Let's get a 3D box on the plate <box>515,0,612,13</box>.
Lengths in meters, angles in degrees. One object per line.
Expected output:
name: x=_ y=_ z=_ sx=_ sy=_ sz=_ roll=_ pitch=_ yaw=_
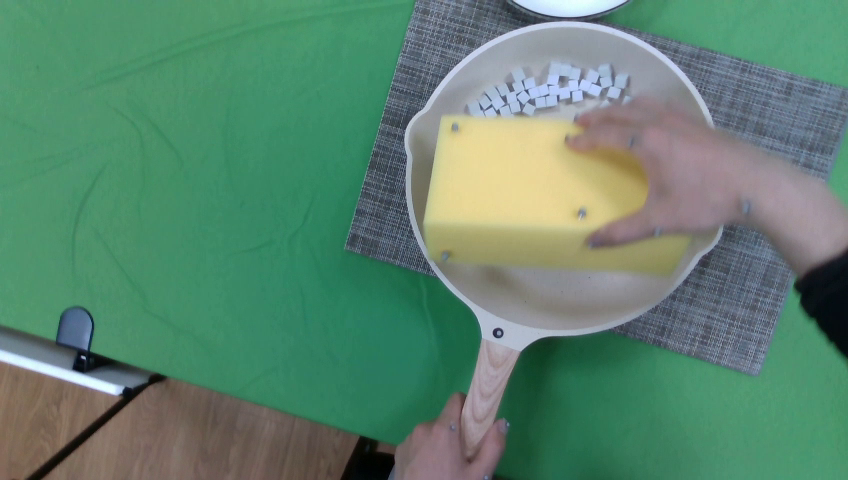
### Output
plate: x=0.141 y=-0.327 z=0.598 sx=0.207 sy=0.039 sz=0.207 roll=0 pitch=94 yaw=5

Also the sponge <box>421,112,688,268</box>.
sponge: x=0.108 y=-0.045 z=0.521 sx=0.206 sy=0.061 sz=0.117 roll=2 pitch=58 yaw=7

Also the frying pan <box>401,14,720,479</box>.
frying pan: x=0.092 y=0.035 z=0.587 sx=0.306 sy=0.103 sz=0.487 roll=20 pitch=87 yaw=4
